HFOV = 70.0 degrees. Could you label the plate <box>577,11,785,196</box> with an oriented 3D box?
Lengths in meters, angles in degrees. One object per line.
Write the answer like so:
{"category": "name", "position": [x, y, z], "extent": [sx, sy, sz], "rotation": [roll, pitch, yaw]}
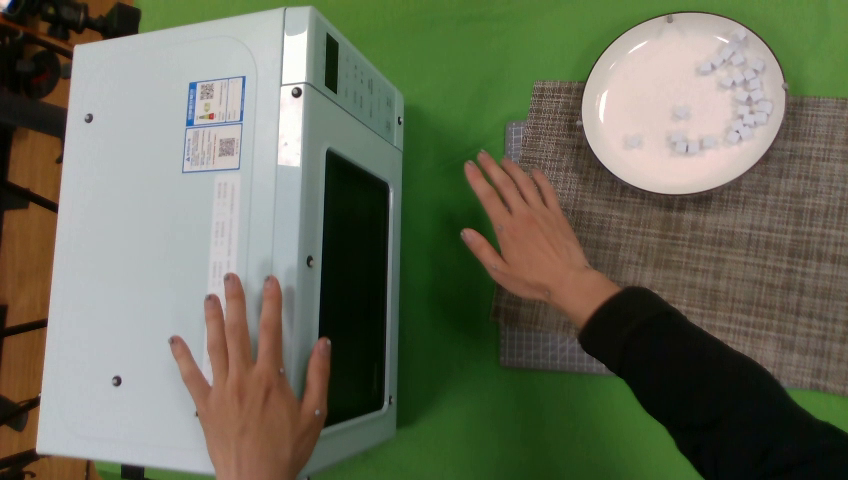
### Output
{"category": "plate", "position": [0.277, -0.147, 0.668], "extent": [0.208, 0.038, 0.208], "rotation": [-3, 81, 19]}

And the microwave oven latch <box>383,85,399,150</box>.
{"category": "microwave oven latch", "position": [-0.048, -0.155, 0.770], "extent": [0.030, 0.030, 0.079], "rotation": [-2, 83, 19]}

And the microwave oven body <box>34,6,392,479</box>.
{"category": "microwave oven body", "position": [-0.223, 0.012, 0.708], "extent": [0.325, 0.262, 0.440], "rotation": [-2, 83, 19]}

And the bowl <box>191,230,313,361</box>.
{"category": "bowl", "position": [-0.190, 0.067, 0.722], "extent": [0.151, 0.077, 0.151], "rotation": [-3, 82, 19]}

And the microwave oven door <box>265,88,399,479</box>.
{"category": "microwave oven door", "position": [-0.087, 0.049, 0.650], "extent": [0.039, 0.245, 0.354], "rotation": [-2, 82, 20]}
